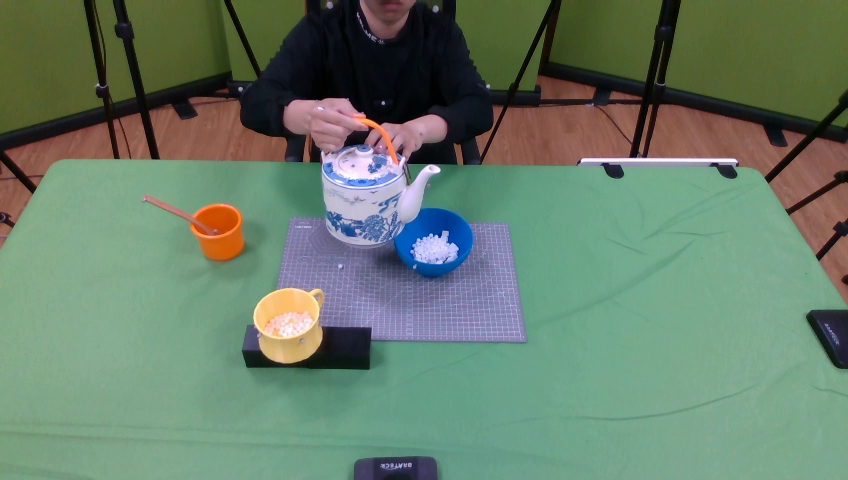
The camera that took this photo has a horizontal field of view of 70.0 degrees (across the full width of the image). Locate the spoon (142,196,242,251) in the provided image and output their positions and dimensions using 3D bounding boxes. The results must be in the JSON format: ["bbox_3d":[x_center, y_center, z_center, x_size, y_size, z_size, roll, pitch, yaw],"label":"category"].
[{"bbox_3d":[-0.421,-0.032,1.108,0.021,0.195,0.041,-32,40,28],"label":"spoon"}]

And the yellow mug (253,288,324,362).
[{"bbox_3d":[-0.205,0.124,0.963,0.099,0.064,0.130,27,48,21],"label":"yellow mug"}]

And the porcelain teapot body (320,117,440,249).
[{"bbox_3d":[-0.076,-0.102,1.038,0.205,0.226,0.144,8,39,7],"label":"porcelain teapot body"}]

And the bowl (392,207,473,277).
[{"bbox_3d":[0.014,0.016,1.140,0.151,0.077,0.150,2,47,-2],"label":"bowl"}]

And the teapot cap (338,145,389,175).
[{"bbox_3d":[-0.101,-0.136,1.016,0.085,0.044,0.084,3,37,-2],"label":"teapot cap"}]
